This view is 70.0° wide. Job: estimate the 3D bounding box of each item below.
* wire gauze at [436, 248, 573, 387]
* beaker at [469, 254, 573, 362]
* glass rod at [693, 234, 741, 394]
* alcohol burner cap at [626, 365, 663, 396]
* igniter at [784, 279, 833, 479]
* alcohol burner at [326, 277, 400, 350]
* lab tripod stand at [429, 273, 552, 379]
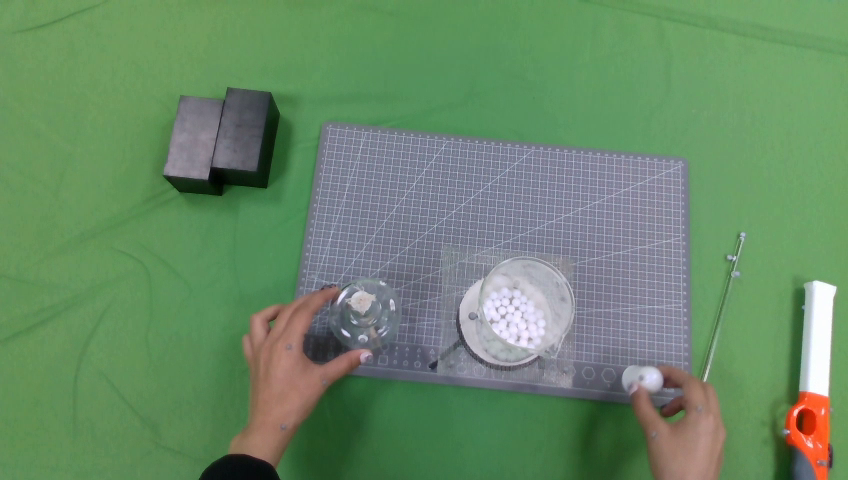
[{"bbox_3d":[0.074,0.068,0.554,0.125,0.011,0.120,5,72,2],"label":"wire gauze"},{"bbox_3d":[0.077,0.064,0.504,0.074,0.101,0.083,-25,75,-9],"label":"beaker"},{"bbox_3d":[0.337,0.082,0.696,0.008,0.008,0.199,22,75,4],"label":"glass rod"},{"bbox_3d":[0.234,0.147,0.637,0.034,0.048,0.033,-1,74,4],"label":"alcohol burner cap"},{"bbox_3d":[0.422,0.177,0.662,0.057,0.025,0.275,16,74,-9],"label":"igniter"},{"bbox_3d":[-0.064,0.072,0.626,0.078,0.120,0.077,1,72,-2],"label":"alcohol burner"},{"bbox_3d":[0.071,0.089,0.616,0.148,0.132,0.147,0,73,0],"label":"lab tripod stand"}]
